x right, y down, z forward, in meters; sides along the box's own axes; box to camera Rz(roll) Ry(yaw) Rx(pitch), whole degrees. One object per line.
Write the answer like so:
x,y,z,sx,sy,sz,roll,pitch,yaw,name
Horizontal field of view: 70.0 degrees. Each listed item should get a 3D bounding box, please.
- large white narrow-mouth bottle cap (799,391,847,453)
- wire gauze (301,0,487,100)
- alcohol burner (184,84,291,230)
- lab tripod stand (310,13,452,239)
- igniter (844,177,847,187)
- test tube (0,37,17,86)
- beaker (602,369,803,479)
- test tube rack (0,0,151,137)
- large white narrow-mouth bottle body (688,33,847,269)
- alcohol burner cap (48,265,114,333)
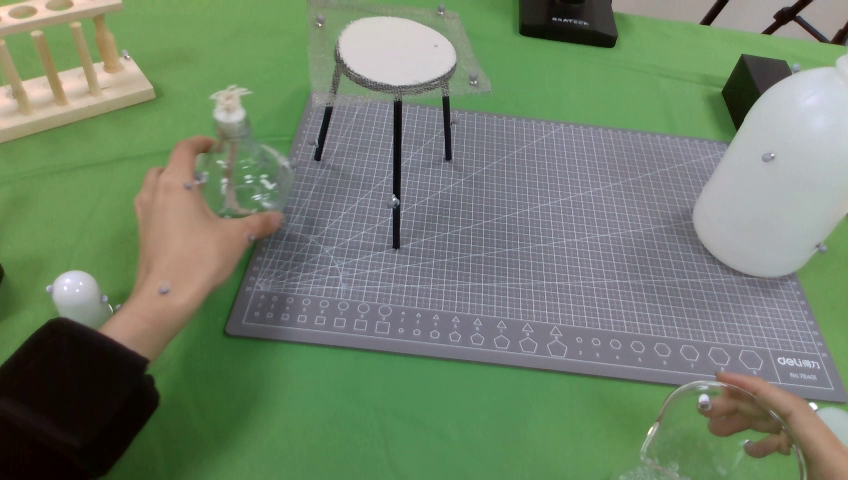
0.280,0.125,0.414,0.038,0.024,0.037,4,48,-4,large white narrow-mouth bottle cap
-0.026,-0.142,0.436,0.122,0.011,0.123,-3,51,-12,wire gauze
-0.139,-0.064,0.450,0.078,0.120,0.077,5,47,-5,alcohol burner
-0.028,-0.096,0.486,0.148,0.132,0.147,5,49,-6,lab tripod stand
0.415,0.041,0.501,0.057,0.025,0.274,15,48,-9,igniter
-0.367,-0.194,0.495,0.017,0.151,0.017,4,44,-4,test tube
0.143,0.130,0.338,0.084,0.101,0.073,-3,49,-8,beaker
-0.375,-0.142,0.515,0.242,0.086,0.066,-26,57,-27,test tube rack
0.288,-0.071,0.466,0.102,0.196,0.101,3,48,-3,large white narrow-mouth bottle body
-0.232,0.038,0.405,0.034,0.048,0.033,5,49,-5,alcohol burner cap
